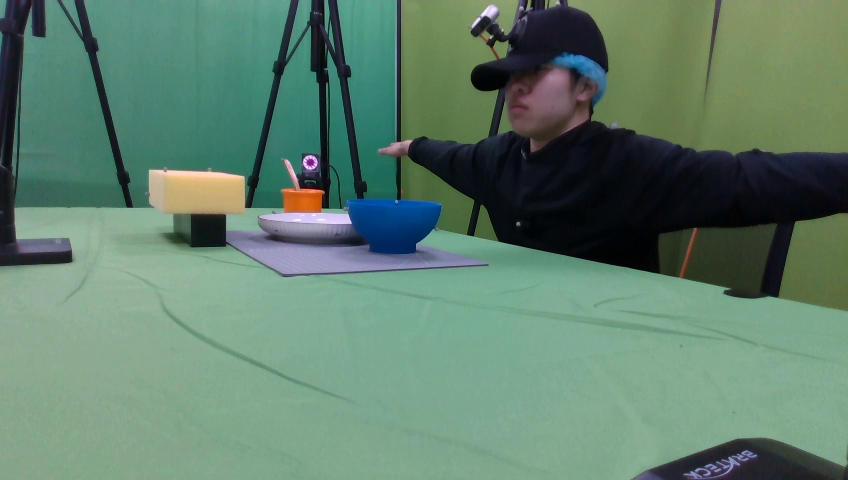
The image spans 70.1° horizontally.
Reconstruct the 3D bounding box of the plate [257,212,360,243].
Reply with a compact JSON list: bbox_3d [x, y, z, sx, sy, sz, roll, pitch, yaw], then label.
[{"bbox_3d":[-0.189,-0.023,1.072,0.209,0.038,0.209,3,7,0],"label":"plate"}]

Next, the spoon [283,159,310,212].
[{"bbox_3d":[-0.279,-0.111,1.324,0.042,0.193,0.021,2,-39,-35],"label":"spoon"}]

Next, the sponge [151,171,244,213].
[{"bbox_3d":[-0.383,-0.082,1.010,0.119,0.061,0.206,-1,7,-30],"label":"sponge"}]

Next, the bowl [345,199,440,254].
[{"bbox_3d":[-0.050,-0.022,0.952,0.151,0.077,0.151,2,7,0],"label":"bowl"}]
